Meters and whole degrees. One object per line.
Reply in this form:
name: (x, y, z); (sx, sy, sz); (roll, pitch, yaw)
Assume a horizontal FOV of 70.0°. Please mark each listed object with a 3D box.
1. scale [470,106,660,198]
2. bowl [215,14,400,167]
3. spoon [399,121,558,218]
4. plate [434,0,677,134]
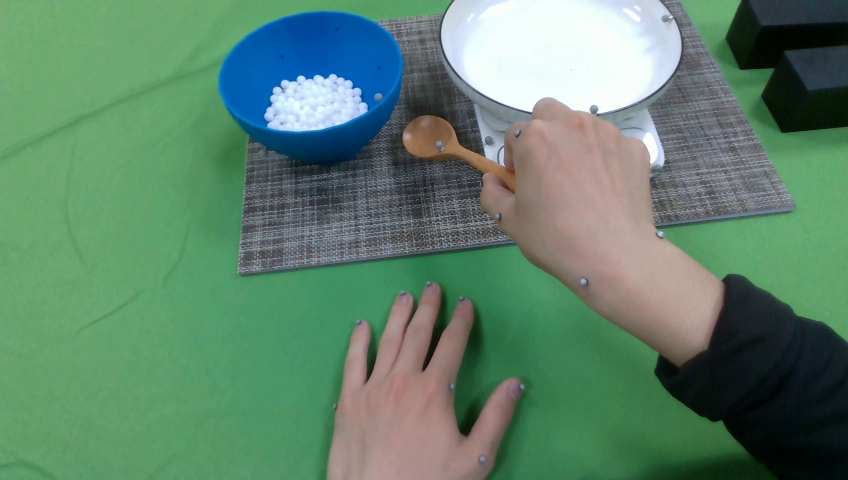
scale: (0.116, -0.129, 0.550); (0.149, 0.032, 0.199); (-7, 56, -2)
bowl: (-0.093, -0.116, 0.524); (0.151, 0.077, 0.150); (-1, 56, 2)
spoon: (0.033, -0.056, 0.450); (0.041, 0.022, 0.191); (-33, 34, -12)
plate: (0.113, -0.166, 0.536); (0.209, 0.038, 0.207); (-1, 56, 1)
